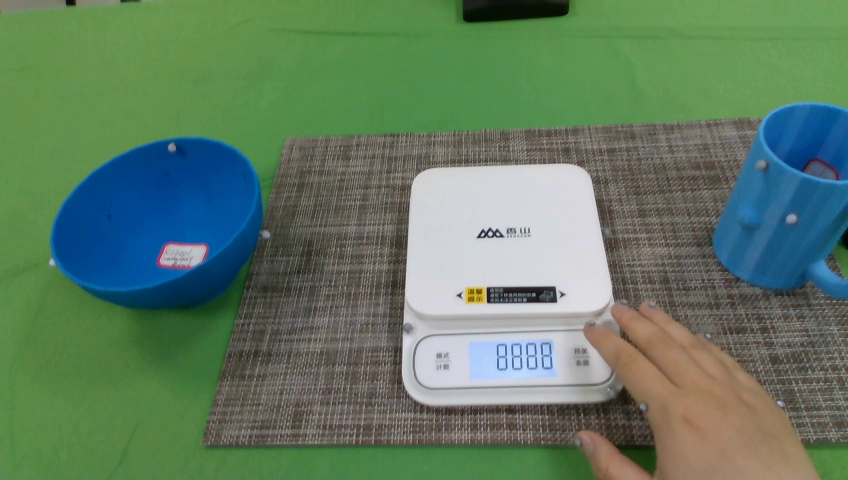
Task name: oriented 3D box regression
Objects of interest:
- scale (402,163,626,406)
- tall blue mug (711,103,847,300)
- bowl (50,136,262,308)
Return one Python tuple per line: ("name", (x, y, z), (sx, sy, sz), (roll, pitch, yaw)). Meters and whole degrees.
("scale", (0.060, 0.023, 0.448), (0.148, 0.032, 0.199), (-2, 51, 5))
("tall blue mug", (0.264, -0.020, 0.411), (0.106, 0.109, 0.077), (32, 60, 28))
("bowl", (-0.191, -0.001, 0.469), (0.151, 0.077, 0.150), (-3, 51, 4))
